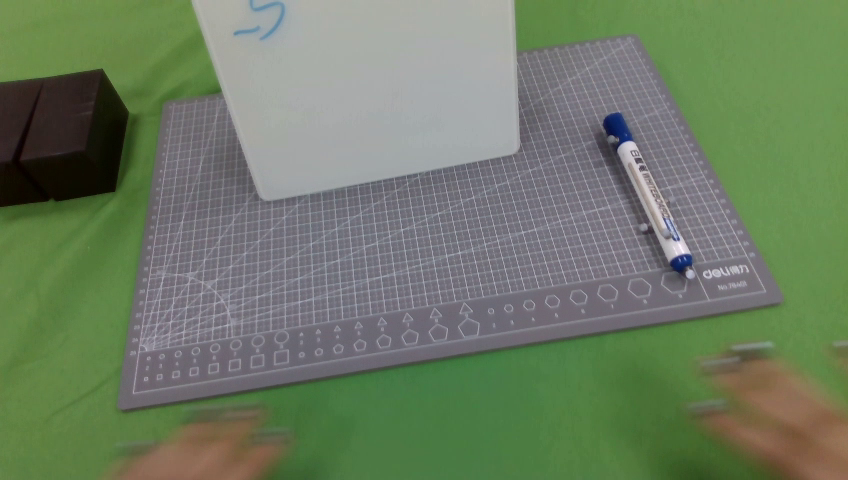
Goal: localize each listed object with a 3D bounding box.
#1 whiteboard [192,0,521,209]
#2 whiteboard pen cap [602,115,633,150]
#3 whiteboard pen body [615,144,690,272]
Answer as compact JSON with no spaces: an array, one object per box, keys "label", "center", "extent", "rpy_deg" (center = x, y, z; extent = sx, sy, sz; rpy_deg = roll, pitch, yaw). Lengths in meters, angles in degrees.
[{"label":"whiteboard","center":[-0.053,-0.207,0.458],"extent":[0.217,0.308,0.142],"rpy_deg":[-10,35,-3]},{"label":"whiteboard pen cap","center":[0.157,-0.085,0.492],"extent":[0.018,0.018,0.033],"rpy_deg":[-9,58,-3]},{"label":"whiteboard pen body","center":[0.168,-0.037,0.460],"extent":[0.017,0.017,0.139],"rpy_deg":[-10,57,-3]}]
